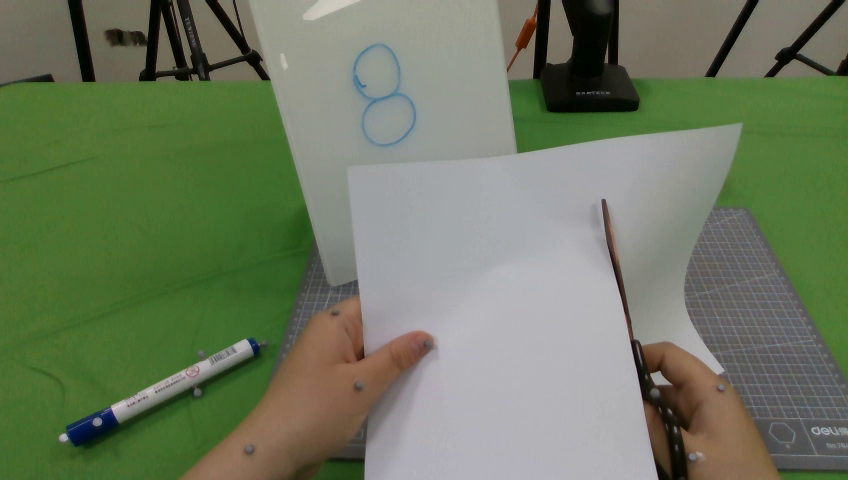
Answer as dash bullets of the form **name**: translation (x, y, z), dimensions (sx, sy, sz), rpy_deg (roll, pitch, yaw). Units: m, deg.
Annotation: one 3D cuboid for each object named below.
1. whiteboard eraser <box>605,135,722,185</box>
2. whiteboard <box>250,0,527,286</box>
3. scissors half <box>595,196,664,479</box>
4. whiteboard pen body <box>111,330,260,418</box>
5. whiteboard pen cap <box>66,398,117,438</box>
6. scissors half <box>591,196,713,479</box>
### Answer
- **whiteboard eraser**: translation (0.262, -0.087, 0.666), dimensions (0.113, 0.042, 0.055), rpy_deg (-1, 43, 0)
- **whiteboard**: translation (-0.044, -0.148, 0.593), dimensions (0.217, 0.307, 0.142), rpy_deg (-19, 23, -17)
- **scissors half**: translation (0.118, 0.059, 0.369), dimensions (0.013, 0.175, 0.040), rpy_deg (-8, 1, -31)
- **whiteboard pen body**: translation (-0.195, 0.108, 0.472), dimensions (0.141, 0.017, 0.017), rpy_deg (-27, 46, -27)
- **whiteboard pen cap**: translation (-0.242, 0.129, 0.445), dimensions (0.033, 0.018, 0.018), rpy_deg (-27, 47, -27)
- **scissors half**: translation (0.127, 0.054, 0.351), dimensions (0.013, 0.040, 0.174), rpy_deg (-10, 73, -26)
